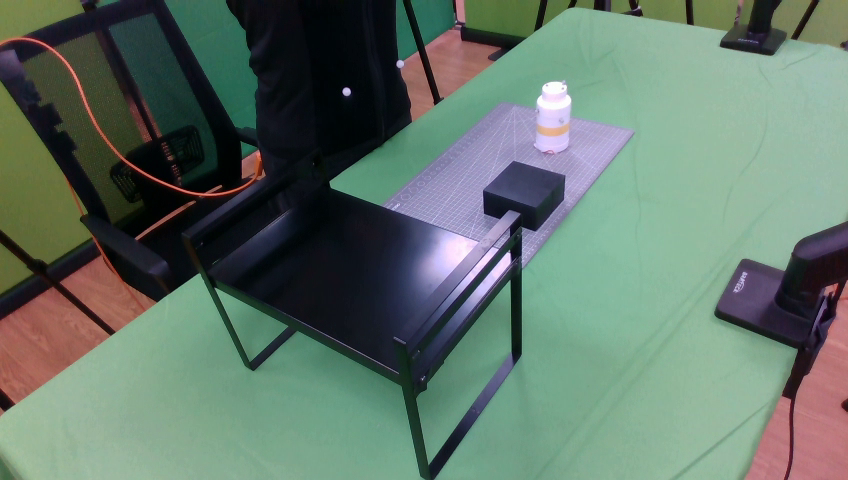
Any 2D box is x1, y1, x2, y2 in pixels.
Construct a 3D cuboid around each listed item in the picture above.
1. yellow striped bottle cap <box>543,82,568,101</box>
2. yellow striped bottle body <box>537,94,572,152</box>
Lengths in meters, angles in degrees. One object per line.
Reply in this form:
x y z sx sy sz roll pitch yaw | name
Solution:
0.237 -0.269 1.093 0.044 0.019 0.044 -3 39 3 | yellow striped bottle cap
0.243 -0.230 1.127 0.063 0.121 0.062 -5 41 4 | yellow striped bottle body
